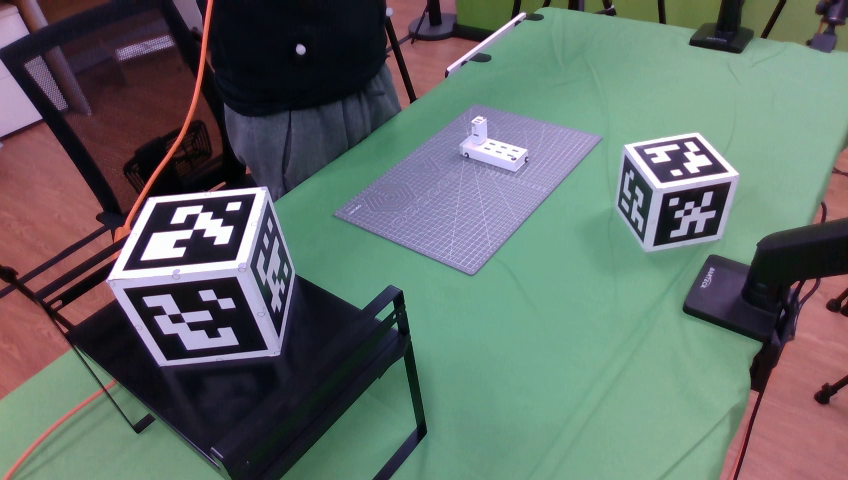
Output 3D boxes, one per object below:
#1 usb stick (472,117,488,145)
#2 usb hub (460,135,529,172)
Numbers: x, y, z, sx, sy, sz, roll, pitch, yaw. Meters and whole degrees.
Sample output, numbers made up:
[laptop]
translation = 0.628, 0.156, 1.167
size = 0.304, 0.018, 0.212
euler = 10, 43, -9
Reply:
[usb stick]
translation = 0.106, -0.199, 1.137
size = 0.021, 0.059, 0.027
euler = 22, 51, 29
[usb hub]
translation = 0.132, -0.165, 1.137
size = 0.124, 0.025, 0.049
euler = 22, 49, 30
